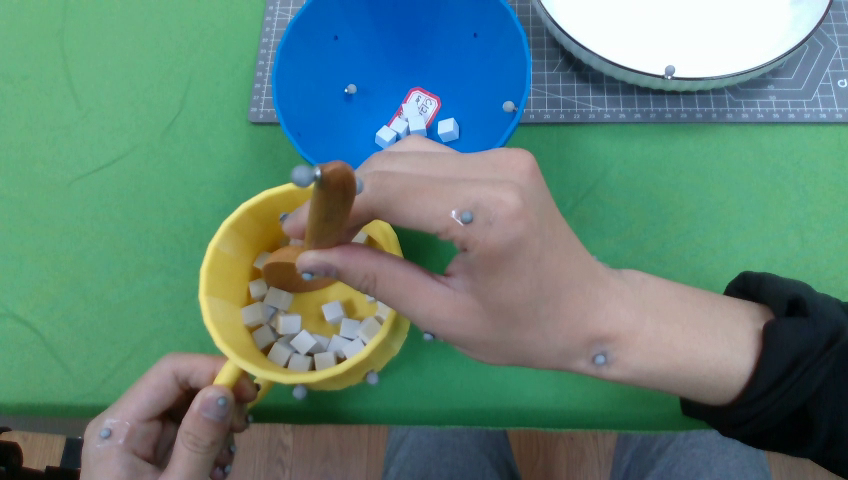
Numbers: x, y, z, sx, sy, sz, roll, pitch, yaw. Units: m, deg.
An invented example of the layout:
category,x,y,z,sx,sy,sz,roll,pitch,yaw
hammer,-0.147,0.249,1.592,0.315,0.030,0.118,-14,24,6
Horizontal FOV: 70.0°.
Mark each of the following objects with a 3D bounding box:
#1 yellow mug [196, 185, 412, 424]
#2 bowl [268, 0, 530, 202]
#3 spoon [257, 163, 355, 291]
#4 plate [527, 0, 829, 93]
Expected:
category,x,y,z,sx,sy,sz,roll,pitch,yaw
yellow mug,-0.067,0.041,0.317,0.099,0.064,0.130,34,79,10
bowl,-0.012,-0.085,0.382,0.151,0.077,0.150,-1,74,4
spoon,-0.048,0.003,0.256,0.042,0.193,0.021,3,80,-16
plate,0.170,-0.188,0.427,0.209,0.038,0.207,-1,70,3
